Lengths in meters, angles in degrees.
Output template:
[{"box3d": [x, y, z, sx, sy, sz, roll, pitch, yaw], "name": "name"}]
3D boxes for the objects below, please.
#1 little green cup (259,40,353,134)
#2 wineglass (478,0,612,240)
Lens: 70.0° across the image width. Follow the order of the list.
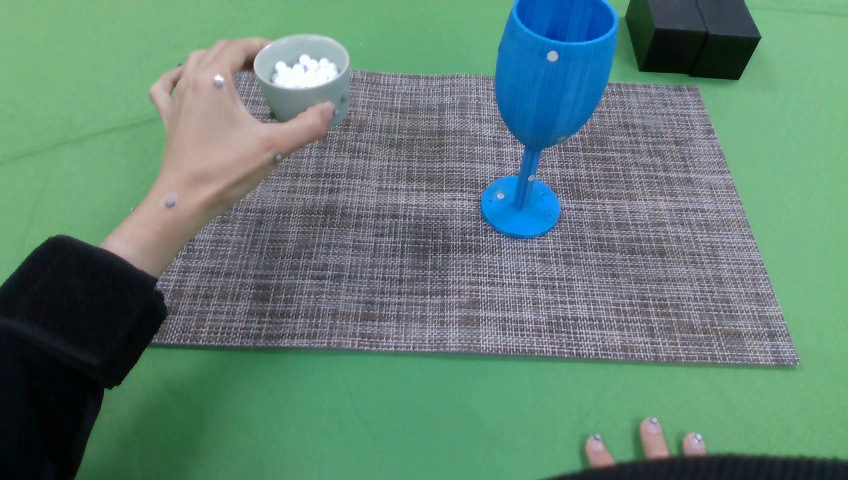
[{"box3d": [-0.077, -0.102, 0.408, 0.061, 0.039, 0.061, 0, 49, 0], "name": "little green cup"}, {"box3d": [0.077, -0.078, 0.423, 0.074, 0.174, 0.073, 1, 52, -1], "name": "wineglass"}]
